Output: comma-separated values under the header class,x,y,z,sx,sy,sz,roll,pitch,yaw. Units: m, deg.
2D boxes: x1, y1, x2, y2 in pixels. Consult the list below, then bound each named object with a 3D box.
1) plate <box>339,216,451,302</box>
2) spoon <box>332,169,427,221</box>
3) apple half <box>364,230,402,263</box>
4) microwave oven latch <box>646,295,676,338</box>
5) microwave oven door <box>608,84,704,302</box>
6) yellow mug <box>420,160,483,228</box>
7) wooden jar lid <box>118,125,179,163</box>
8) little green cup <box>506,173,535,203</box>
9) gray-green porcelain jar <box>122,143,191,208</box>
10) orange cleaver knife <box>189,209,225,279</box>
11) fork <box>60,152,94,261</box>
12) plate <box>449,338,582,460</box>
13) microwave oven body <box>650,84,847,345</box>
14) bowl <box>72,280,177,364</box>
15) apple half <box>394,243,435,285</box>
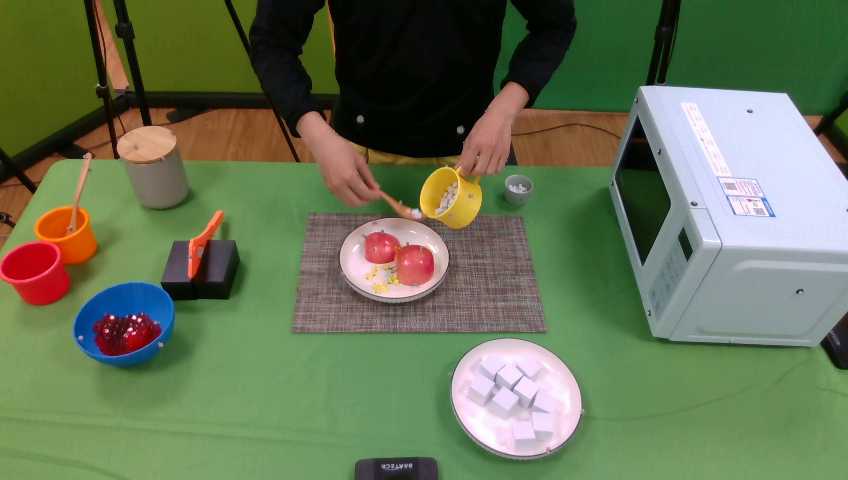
class,x,y,z,sx,sy,sz,roll,pitch,yaw
plate,-0.054,0.038,1.137,0.209,0.038,0.208,2,46,-2
spoon,-0.080,-0.082,1.073,0.193,0.022,0.041,32,25,10
apple half,-0.079,0.004,1.160,0.081,0.033,0.081,3,49,-3
microwave oven latch,0.413,0.133,1.060,0.030,0.029,0.078,4,46,1
microwave oven door,0.424,-0.096,1.138,0.039,0.245,0.353,2,47,-1
yellow mug,0.059,-0.092,1.112,0.064,0.131,0.099,24,19,-42
wooden jar lid,-0.528,-0.181,1.167,0.108,0.021,0.107,4,48,-4
little green cup,0.205,-0.111,1.302,0.061,0.039,0.061,1,45,-1
gray-green porcelain jar,-0.531,-0.136,1.213,0.106,0.127,0.105,2,46,-2
orange cleaver knife,-0.401,0.002,1.122,0.012,0.077,0.210,4,23,-4
fork,-0.638,-0.063,1.119,0.028,0.018,0.207,12,90,9
plate,0.141,0.251,0.956,0.208,0.039,0.206,2,47,-2
microwave oven body,0.569,-0.054,1.116,0.326,0.261,0.439,2,46,-1
bowl,-0.472,0.147,0.982,0.151,0.077,0.150,2,46,-2
apple half,-0.016,0.036,1.120,0.075,0.053,0.080,1,46,-6
